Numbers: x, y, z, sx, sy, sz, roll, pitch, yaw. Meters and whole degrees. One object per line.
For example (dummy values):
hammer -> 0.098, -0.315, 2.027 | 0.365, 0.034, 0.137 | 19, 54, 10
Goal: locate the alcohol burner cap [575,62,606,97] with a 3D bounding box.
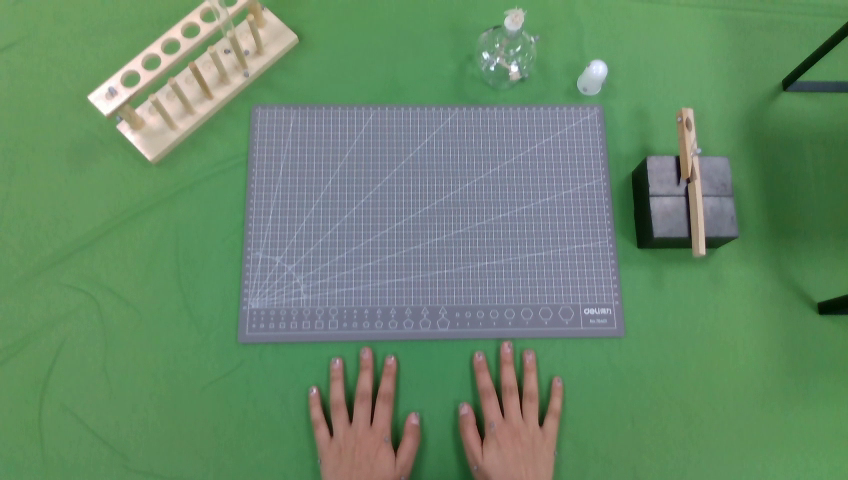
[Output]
alcohol burner cap -> 0.216, -0.208, 0.779 | 0.034, 0.048, 0.033 | 1, 74, -2

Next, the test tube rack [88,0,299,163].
test tube rack -> -0.270, -0.209, 0.736 | 0.066, 0.085, 0.242 | 43, 78, 9

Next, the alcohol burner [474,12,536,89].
alcohol burner -> 0.103, -0.239, 0.745 | 0.078, 0.119, 0.077 | 1, 73, -3

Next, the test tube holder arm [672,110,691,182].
test tube holder arm -> 0.307, -0.112, 0.718 | 0.010, 0.015, 0.087 | 2, 76, -9

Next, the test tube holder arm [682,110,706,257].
test tube holder arm -> 0.313, -0.068, 0.709 | 0.013, 0.015, 0.177 | 0, 76, -10

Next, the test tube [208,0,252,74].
test tube -> -0.224, -0.240, 0.699 | 0.017, 0.151, 0.017 | 1, 72, -1
